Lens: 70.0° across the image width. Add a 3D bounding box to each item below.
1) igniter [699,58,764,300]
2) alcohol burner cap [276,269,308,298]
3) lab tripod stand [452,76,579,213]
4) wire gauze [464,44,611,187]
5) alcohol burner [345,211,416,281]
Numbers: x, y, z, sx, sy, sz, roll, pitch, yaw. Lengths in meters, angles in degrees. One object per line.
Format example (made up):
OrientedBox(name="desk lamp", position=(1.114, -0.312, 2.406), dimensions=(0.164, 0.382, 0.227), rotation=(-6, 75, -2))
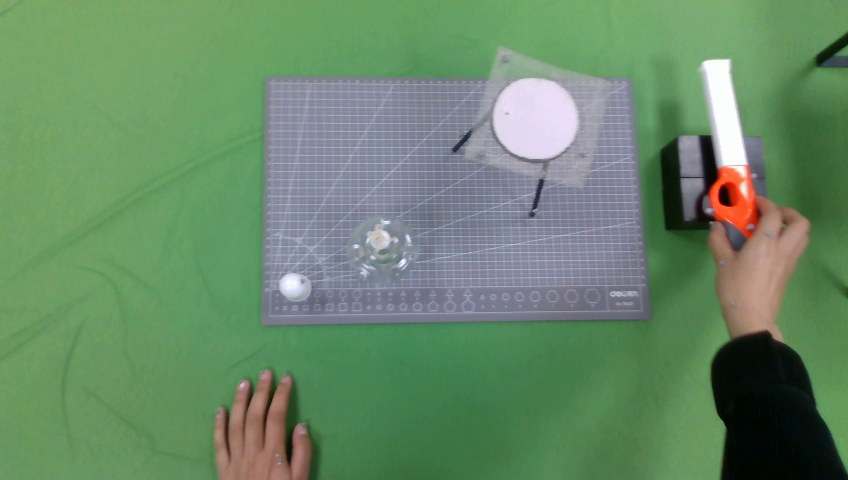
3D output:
OrientedBox(name="igniter", position=(0.340, -0.071, 0.674), dimensions=(0.057, 0.025, 0.275), rotation=(-2, 79, -1))
OrientedBox(name="alcohol burner cap", position=(-0.148, 0.047, 0.673), dimensions=(0.034, 0.048, 0.033), rotation=(1, 81, -4))
OrientedBox(name="lab tripod stand", position=(0.109, -0.114, 0.667), dimensions=(0.148, 0.132, 0.147), rotation=(1, 79, -3))
OrientedBox(name="wire gauze", position=(0.115, -0.124, 0.600), dimensions=(0.121, 0.011, 0.124), rotation=(18, 79, 0))
OrientedBox(name="alcohol burner", position=(-0.047, 0.004, 0.649), dimensions=(0.078, 0.119, 0.077), rotation=(0, 82, -2))
